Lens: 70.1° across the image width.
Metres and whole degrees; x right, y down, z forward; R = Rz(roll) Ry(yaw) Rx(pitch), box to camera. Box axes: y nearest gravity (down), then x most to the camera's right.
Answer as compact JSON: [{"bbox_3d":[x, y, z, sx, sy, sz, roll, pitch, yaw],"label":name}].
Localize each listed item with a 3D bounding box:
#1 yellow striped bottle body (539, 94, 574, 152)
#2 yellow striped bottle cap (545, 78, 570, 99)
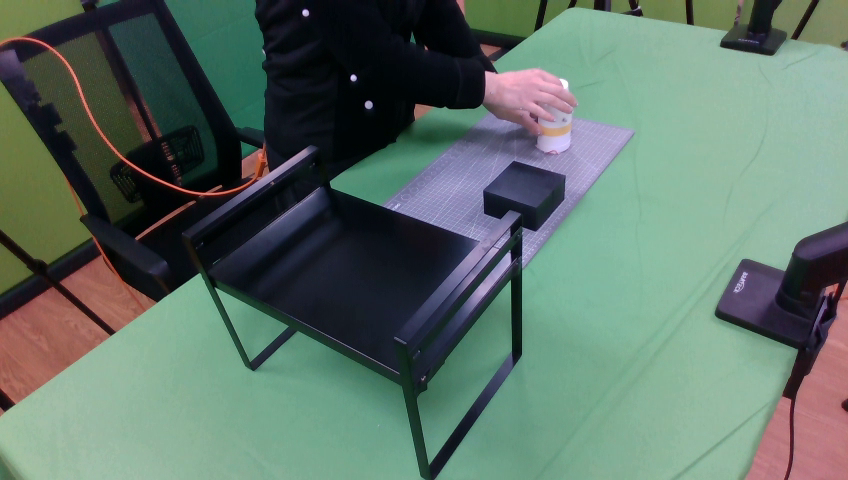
[{"bbox_3d":[0.246,-0.230,1.126,0.063,0.121,0.062,-4,41,4],"label":"yellow striped bottle body"},{"bbox_3d":[0.240,-0.273,1.089,0.044,0.019,0.044,-9,44,9],"label":"yellow striped bottle cap"}]
